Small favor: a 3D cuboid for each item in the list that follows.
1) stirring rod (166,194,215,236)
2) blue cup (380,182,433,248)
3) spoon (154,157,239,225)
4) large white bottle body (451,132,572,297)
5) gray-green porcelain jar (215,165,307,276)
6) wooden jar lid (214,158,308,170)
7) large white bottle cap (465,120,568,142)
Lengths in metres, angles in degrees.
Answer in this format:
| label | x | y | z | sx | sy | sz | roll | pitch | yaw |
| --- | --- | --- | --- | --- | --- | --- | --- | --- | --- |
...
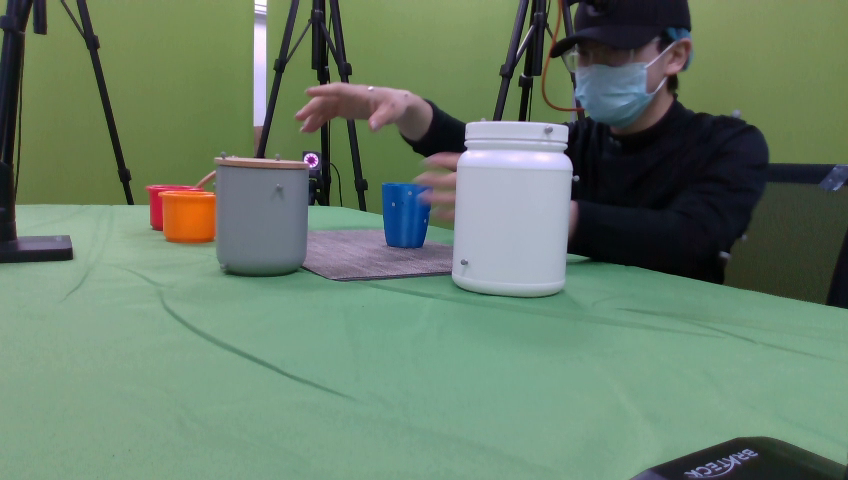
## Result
| label | x | y | z | sx | sy | sz | roll | pitch | yaw |
| --- | --- | --- | --- | --- | --- | --- | --- | --- | --- |
| stirring rod | -0.341 | -0.066 | 0.967 | 0.176 | 0.006 | 0.014 | -42 | 23 | -9 |
| blue cup | -0.029 | -0.041 | 0.980 | 0.093 | 0.100 | 0.092 | 2 | 9 | 0 |
| spoon | -0.411 | -0.092 | 1.105 | 0.041 | 0.022 | 0.194 | 13 | 56 | 51 |
| large white bottle body | 0.099 | -0.037 | 0.688 | 0.131 | 0.184 | 0.130 | 2 | 7 | 0 |
| gray-green porcelain jar | -0.195 | -0.024 | 0.726 | 0.106 | 0.126 | 0.106 | 3 | 7 | 0 |
| wooden jar lid | -0.193 | -0.085 | 0.719 | 0.108 | 0.020 | 0.108 | 2 | 9 | 0 |
| large white bottle cap | 0.103 | -0.121 | 0.677 | 0.115 | 0.018 | 0.115 | 3 | 7 | 0 |
